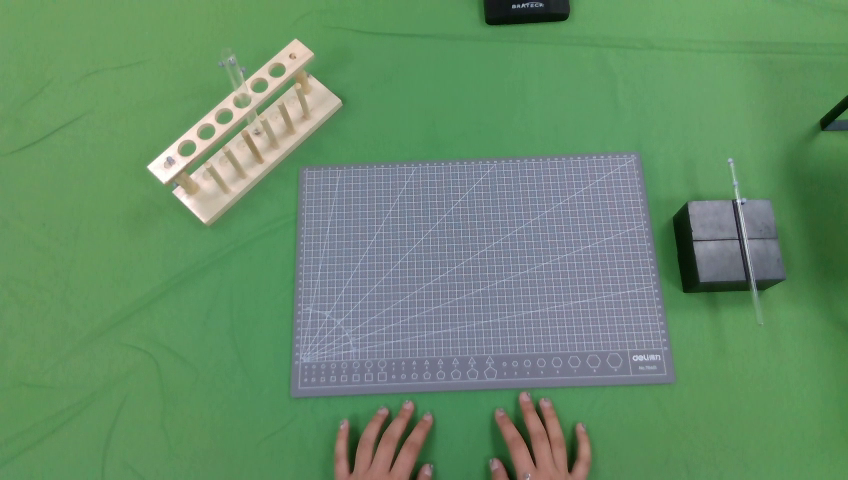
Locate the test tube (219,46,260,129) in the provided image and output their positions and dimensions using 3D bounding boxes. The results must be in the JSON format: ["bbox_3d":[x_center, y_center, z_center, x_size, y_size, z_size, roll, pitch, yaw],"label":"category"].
[{"bbox_3d":[-0.221,-0.180,0.735,0.017,0.151,0.017,1,67,-2],"label":"test tube"}]

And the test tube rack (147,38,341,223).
[{"bbox_3d":[-0.222,-0.139,0.774,0.066,0.086,0.242,41,77,14],"label":"test tube rack"}]

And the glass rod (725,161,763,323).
[{"bbox_3d":[0.372,-0.002,0.706,0.008,0.008,0.198,-2,72,1],"label":"glass rod"}]
